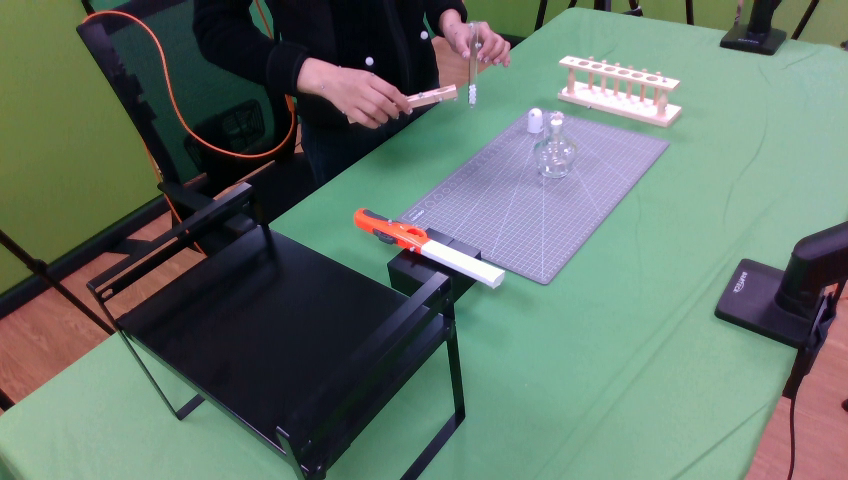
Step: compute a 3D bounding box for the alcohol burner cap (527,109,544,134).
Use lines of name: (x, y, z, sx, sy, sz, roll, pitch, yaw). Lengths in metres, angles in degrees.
alcohol burner cap: (0.222, -0.238, 1.203, 0.034, 0.048, 0.033, -5, 41, 5)

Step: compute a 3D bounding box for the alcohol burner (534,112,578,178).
alcohol burner: (0.232, -0.170, 1.065, 0.078, 0.119, 0.077, -5, 39, 5)

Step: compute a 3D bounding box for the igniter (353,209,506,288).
igniter: (-0.003, 0.006, 0.892, 0.274, 0.025, 0.057, 24, 37, 31)

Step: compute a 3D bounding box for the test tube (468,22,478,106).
test tube: (0.088, -0.312, 1.082, 0.017, 0.151, 0.017, -1, 35, 1)

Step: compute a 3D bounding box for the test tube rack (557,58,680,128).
test tube rack: (0.395, -0.309, 1.230, 0.240, 0.085, 0.067, 25, 50, 33)

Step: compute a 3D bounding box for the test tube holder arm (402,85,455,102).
test tube holder arm: (0.009, -0.226, 0.958, 0.088, 0.015, 0.010, -14, 33, 4)

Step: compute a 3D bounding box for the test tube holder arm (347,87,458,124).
test tube holder arm: (-0.035, -0.212, 0.956, 0.178, 0.015, 0.013, -15, 33, 3)
